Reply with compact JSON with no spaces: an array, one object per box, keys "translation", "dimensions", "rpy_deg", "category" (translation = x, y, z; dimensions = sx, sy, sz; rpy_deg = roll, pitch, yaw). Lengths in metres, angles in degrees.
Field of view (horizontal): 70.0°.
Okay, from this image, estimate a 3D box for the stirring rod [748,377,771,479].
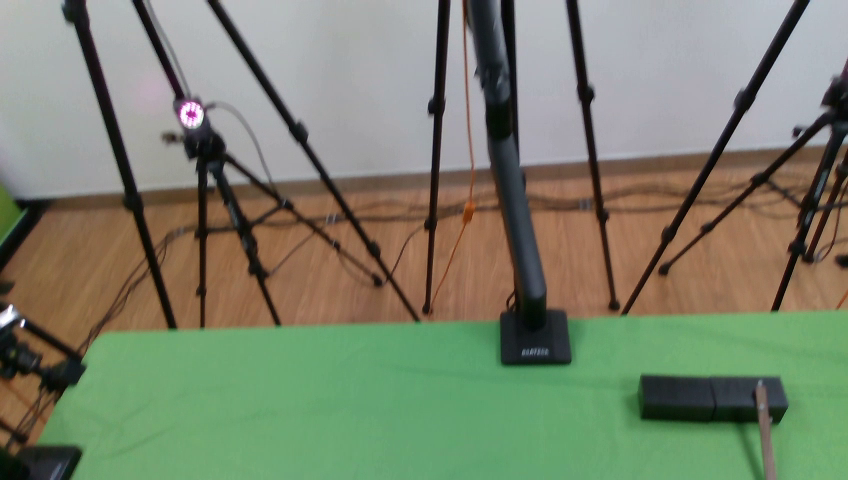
[{"translation":[0.476,0.281,0.857],"dimensions":[0.014,0.006,0.175],"rpy_deg":[2,66,8],"category":"stirring rod"}]
